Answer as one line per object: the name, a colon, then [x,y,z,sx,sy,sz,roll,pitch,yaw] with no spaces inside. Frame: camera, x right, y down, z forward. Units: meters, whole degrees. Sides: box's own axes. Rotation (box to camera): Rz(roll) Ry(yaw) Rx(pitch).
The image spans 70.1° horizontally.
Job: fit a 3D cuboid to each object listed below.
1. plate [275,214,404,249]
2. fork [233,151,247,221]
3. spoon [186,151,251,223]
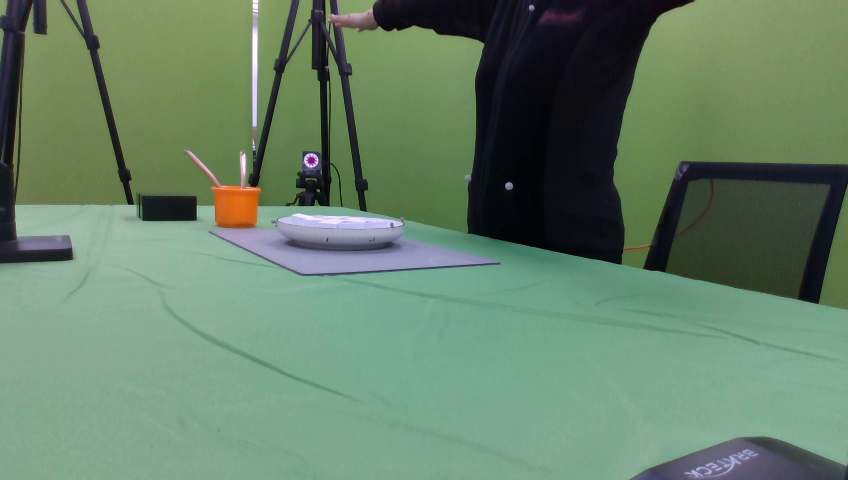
plate: [-0.135,-0.013,0.982,0.208,0.039,0.207,3,7,0]
fork: [-0.366,-0.112,1.215,0.028,0.018,0.206,16,44,-29]
spoon: [-0.401,-0.103,1.176,0.021,0.193,0.042,-41,-9,25]
